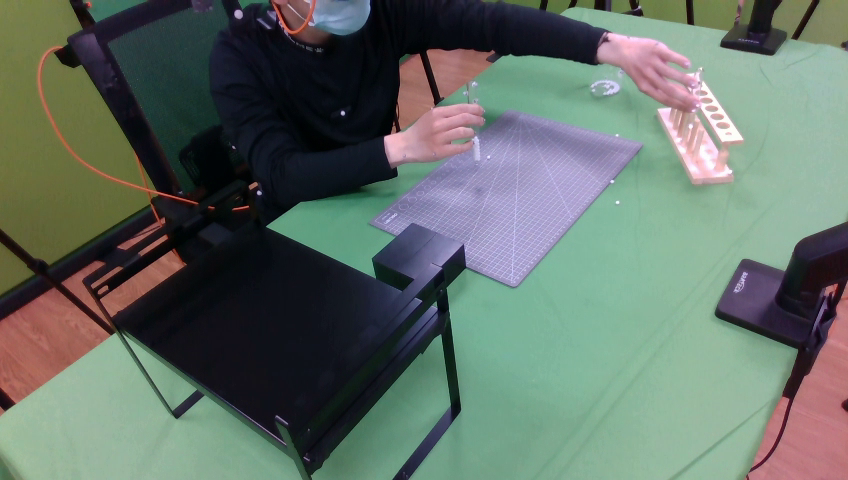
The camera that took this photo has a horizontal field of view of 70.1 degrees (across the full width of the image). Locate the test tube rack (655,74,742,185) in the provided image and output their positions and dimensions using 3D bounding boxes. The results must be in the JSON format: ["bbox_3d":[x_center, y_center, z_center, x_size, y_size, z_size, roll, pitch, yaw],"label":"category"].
[{"bbox_3d":[0.488,-0.205,1.093,0.067,0.085,0.241,-3,41,5],"label":"test tube rack"}]

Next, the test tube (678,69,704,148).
[{"bbox_3d":[0.465,-0.228,1.054,0.017,0.151,0.017,-3,41,3],"label":"test tube"}]

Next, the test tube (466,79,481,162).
[{"bbox_3d":[0.085,-0.202,1.035,0.017,0.151,0.017,-5,34,4],"label":"test tube"}]

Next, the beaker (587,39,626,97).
[{"bbox_3d":[0.386,-0.361,1.280,0.074,0.101,0.083,-22,43,-15],"label":"beaker"}]
